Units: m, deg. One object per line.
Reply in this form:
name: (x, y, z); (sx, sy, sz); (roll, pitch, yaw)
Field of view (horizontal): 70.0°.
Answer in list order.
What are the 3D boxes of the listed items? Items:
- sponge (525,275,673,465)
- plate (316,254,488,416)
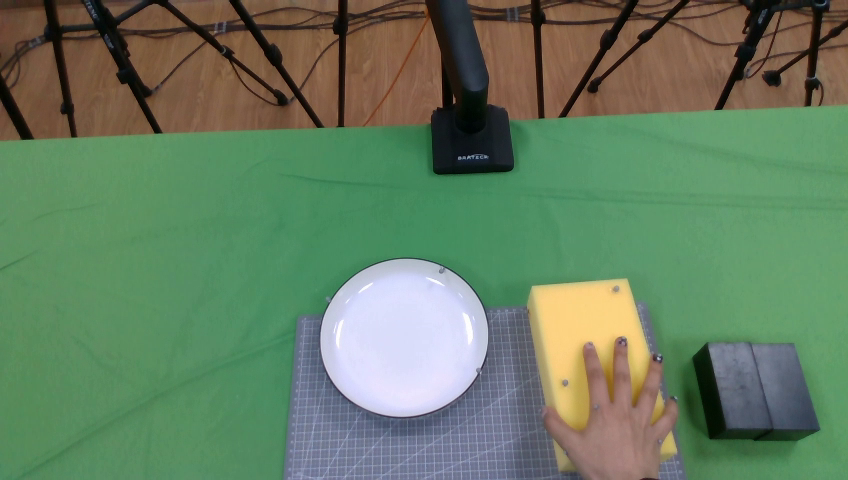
sponge: (0.197, 0.148, 0.709); (0.118, 0.061, 0.205); (-6, 60, -2)
plate: (-0.026, 0.116, 0.746); (0.209, 0.038, 0.207); (0, 60, 1)
